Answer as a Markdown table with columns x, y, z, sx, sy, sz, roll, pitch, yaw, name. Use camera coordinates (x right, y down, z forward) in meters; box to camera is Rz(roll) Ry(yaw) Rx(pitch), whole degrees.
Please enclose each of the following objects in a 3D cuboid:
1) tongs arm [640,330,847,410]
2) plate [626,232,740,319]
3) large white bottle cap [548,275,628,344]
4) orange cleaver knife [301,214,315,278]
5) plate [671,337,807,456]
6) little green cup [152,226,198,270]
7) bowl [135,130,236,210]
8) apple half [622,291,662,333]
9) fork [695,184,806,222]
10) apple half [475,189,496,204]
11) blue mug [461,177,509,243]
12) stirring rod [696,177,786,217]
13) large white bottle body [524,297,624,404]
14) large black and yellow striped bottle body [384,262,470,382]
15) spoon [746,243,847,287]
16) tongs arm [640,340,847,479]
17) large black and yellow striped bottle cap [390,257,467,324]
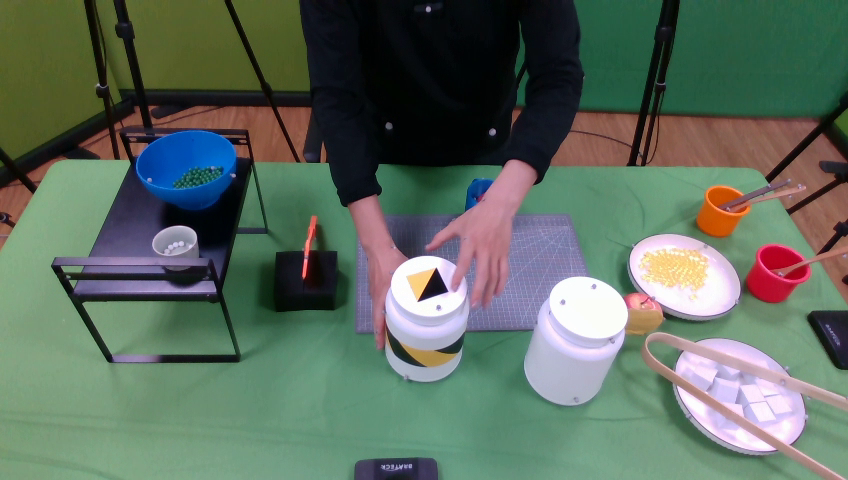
| x | y | z | sx | sy | sz | roll | pitch | yaw | name |
| --- | --- | --- | --- | --- | --- | --- | --- | --- | --- |
| 0.543 | 0.225 | 0.969 | 0.384 | 0.026 | 0.050 | 22 | 52 | 13 | tongs arm |
| 0.489 | 0.071 | 1.157 | 0.209 | 0.038 | 0.208 | 3 | 46 | -3 | plate |
| 0.240 | 0.100 | 0.890 | 0.115 | 0.018 | 0.114 | 3 | 47 | -3 | large white bottle cap |
| -0.218 | 0.008 | 1.131 | 0.012 | 0.077 | 0.210 | 7 | 19 | -9 | orange cleaver knife |
| 0.504 | 0.254 | 0.984 | 0.208 | 0.039 | 0.206 | 2 | 46 | -2 | plate |
| -0.364 | 0.013 | 0.894 | 0.061 | 0.039 | 0.061 | 3 | 46 | -3 | little green cup |
| -0.375 | -0.102 | 0.978 | 0.151 | 0.077 | 0.150 | 3 | 46 | -2 | bowl |
| 0.372 | 0.123 | 1.073 | 0.081 | 0.075 | 0.053 | 0 | 42 | 1 | apple half |
| 0.658 | -0.074 | 1.229 | 0.207 | 0.019 | 0.028 | -24 | 33 | 36 | fork |
| 0.110 | -0.067 | 1.200 | 0.033 | 0.081 | 0.081 | 27 | 50 | 11 | apple half |
| 0.114 | -0.070 | 1.211 | 0.082 | 0.106 | 0.115 | -11 | 48 | -15 | blue mug |
| 0.648 | -0.087 | 1.244 | 0.176 | 0.006 | 0.014 | -25 | 50 | 29 | stirring rod |
| 0.235 | 0.159 | 0.952 | 0.131 | 0.185 | 0.130 | 2 | 47 | -2 | large white bottle body |
| 0.002 | 0.127 | 0.962 | 0.131 | 0.185 | 0.130 | 2 | 48 | -2 | large black and yellow striped bottle body |
| 0.702 | 0.044 | 1.126 | 0.194 | 0.022 | 0.041 | -29 | 38 | 30 | spoon |
| 0.500 | 0.276 | 0.919 | 0.386 | 0.028 | 0.028 | 34 | 59 | 22 | tongs arm |
| 0.007 | 0.072 | 0.899 | 0.115 | 0.019 | 0.114 | 2 | 47 | -2 | large black and yellow striped bottle cap |
